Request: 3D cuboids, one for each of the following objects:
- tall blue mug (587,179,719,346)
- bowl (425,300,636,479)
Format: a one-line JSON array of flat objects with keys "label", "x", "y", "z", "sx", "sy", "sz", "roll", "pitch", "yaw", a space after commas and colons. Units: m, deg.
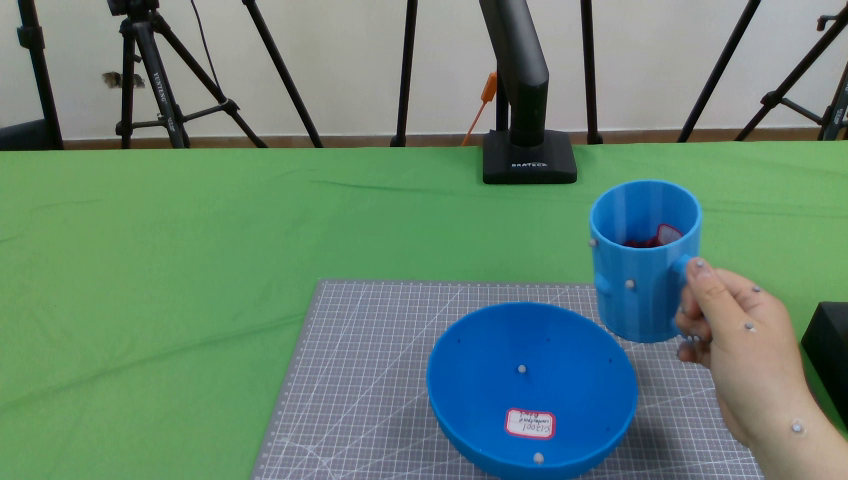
[{"label": "tall blue mug", "x": 0.181, "y": 0.022, "z": 0.463, "sx": 0.106, "sy": 0.109, "sz": 0.077, "roll": 20, "pitch": 55, "yaw": 35}, {"label": "bowl", "x": 0.077, "y": 0.125, "z": 0.460, "sx": 0.151, "sy": 0.077, "sz": 0.150, "roll": -2, "pitch": 38, "yaw": 2}]
